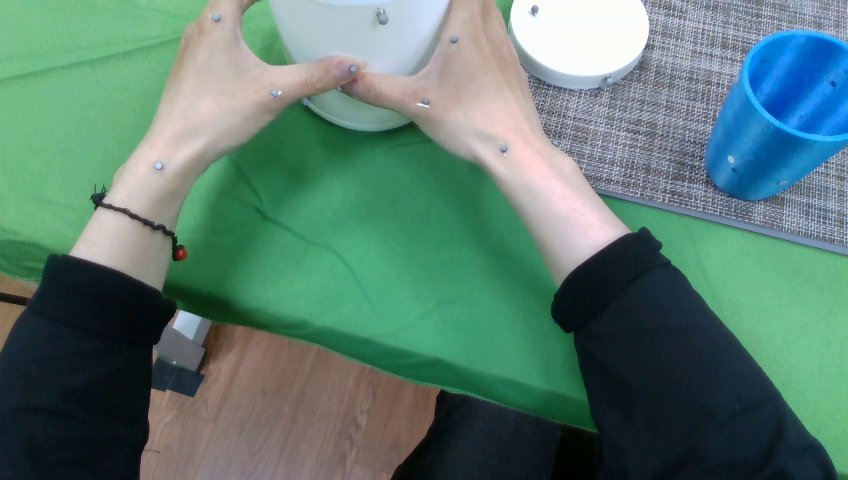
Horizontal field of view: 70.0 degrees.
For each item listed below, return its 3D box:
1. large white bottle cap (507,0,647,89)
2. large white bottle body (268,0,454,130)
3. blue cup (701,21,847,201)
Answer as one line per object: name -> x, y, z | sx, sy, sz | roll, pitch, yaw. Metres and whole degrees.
large white bottle cap -> 0.128, -0.178, 0.506 | 0.115, 0.018, 0.114 | 0, 68, 0
large white bottle body -> -0.043, -0.178, 0.418 | 0.131, 0.186, 0.129 | 0, 68, -1
blue cup -> 0.240, -0.076, 0.417 | 0.092, 0.101, 0.092 | -1, 66, 2
